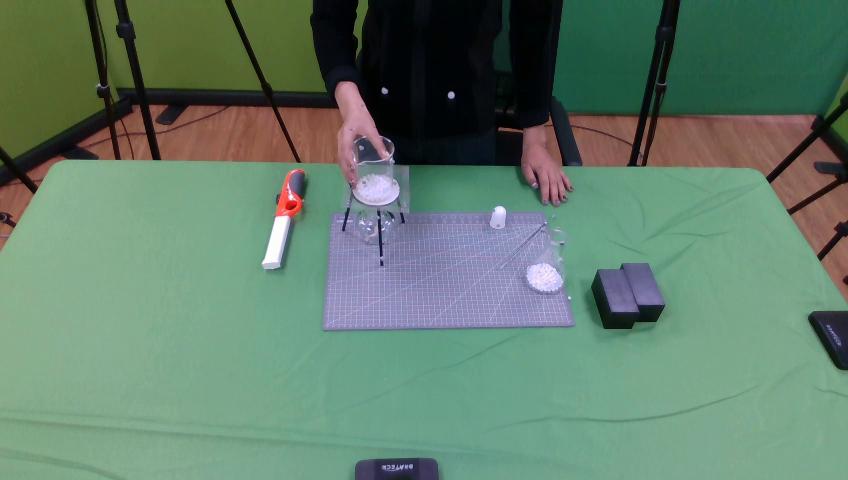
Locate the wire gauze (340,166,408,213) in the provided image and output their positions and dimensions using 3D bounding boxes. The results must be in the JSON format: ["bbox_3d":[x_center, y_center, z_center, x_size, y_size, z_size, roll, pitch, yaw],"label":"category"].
[{"bbox_3d":[-0.091,-0.096,1.110,0.125,0.011,0.120,1,46,-2],"label":"wire gauze"}]

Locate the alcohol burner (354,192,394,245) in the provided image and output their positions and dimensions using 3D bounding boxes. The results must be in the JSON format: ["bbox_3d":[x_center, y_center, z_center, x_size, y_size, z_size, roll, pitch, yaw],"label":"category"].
[{"bbox_3d":[-0.096,-0.048,1.171,0.078,0.119,0.077,4,45,-4],"label":"alcohol burner"}]

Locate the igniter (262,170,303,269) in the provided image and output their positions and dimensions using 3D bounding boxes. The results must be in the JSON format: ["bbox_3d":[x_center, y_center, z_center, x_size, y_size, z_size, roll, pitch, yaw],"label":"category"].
[{"bbox_3d":[-0.283,-0.050,1.222,0.057,0.025,0.275,-5,45,6],"label":"igniter"}]

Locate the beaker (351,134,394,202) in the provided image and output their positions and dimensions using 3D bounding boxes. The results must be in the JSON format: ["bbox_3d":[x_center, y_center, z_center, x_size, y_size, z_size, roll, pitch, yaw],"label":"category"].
[{"bbox_3d":[-0.092,-0.122,1.068,0.074,0.101,0.084,27,51,21],"label":"beaker"}]

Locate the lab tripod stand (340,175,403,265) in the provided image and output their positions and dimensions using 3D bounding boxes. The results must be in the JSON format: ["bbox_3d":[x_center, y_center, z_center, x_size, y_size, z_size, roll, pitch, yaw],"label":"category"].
[{"bbox_3d":[-0.094,-0.050,1.160,0.148,0.132,0.147,2,44,-2],"label":"lab tripod stand"}]

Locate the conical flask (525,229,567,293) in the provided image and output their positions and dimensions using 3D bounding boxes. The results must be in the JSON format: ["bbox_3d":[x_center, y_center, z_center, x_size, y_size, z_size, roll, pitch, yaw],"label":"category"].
[{"bbox_3d":[0.231,0.036,1.110,0.075,0.122,0.075,2,46,-2],"label":"conical flask"}]

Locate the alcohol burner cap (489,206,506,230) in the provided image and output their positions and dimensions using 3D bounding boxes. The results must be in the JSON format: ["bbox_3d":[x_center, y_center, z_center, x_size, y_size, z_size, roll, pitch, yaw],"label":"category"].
[{"bbox_3d":[0.152,-0.047,1.241,0.034,0.048,0.033,2,45,-2],"label":"alcohol burner cap"}]

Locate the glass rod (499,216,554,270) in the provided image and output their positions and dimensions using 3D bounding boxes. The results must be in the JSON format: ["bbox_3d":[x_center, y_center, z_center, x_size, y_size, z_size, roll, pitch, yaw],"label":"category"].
[{"bbox_3d":[0.208,0.002,1.219,0.008,0.008,0.199,32,52,25],"label":"glass rod"}]
